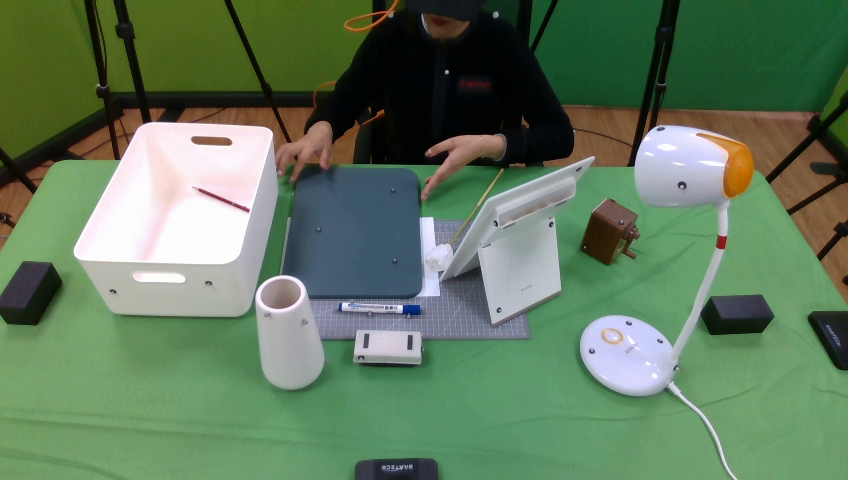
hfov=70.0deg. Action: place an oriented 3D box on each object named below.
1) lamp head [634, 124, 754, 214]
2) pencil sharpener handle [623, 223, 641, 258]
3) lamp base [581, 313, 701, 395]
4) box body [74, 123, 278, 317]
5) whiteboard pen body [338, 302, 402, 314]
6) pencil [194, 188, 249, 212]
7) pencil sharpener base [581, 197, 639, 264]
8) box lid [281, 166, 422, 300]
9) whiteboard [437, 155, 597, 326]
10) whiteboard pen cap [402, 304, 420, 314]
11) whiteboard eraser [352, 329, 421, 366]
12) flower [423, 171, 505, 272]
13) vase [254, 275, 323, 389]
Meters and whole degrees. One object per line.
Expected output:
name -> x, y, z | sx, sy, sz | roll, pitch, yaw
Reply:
lamp head -> 0.351, -0.089, 0.776 | 0.112, 0.113, 0.122 | -30, 30, -28
pencil sharpener handle -> 0.399, 0.002, 1.146 | 0.030, 0.068, 0.036 | 35, 45, 26
lamp base -> 0.361, 0.144, 0.972 | 0.178, 0.181, 0.160 | 34, 53, 23
box body -> -0.421, -0.041, 1.108 | 0.254, 0.161, 0.361 | 2, 46, -3
whiteboard pen body -> -0.083, 0.121, 1.074 | 0.141, 0.017, 0.017 | 3, 46, -2
pencil -> -0.397, -0.076, 1.243 | 0.193, 0.012, 0.012 | 21, 49, 17
pencil sharpener base -> 0.362, -0.016, 1.178 | 0.076, 0.107, 0.061 | 35, 53, 26
box lid -> -0.139, -0.029, 1.219 | 0.263, 0.015, 0.369 | 1, 46, -4
whiteboard -> 0.180, 0.023, 1.029 | 0.217, 0.306, 0.143 | -21, 71, -23
whiteboard pen cap -> -0.024, 0.123, 1.076 | 0.033, 0.018, 0.018 | 1, 46, 1
whiteboard eraser -> -0.061, 0.179, 1.005 | 0.113, 0.042, 0.055 | 3, 48, -3
flower -> 0.098, -0.054, 1.259 | 0.044, 0.038, 0.361 | 18, 43, 22
vase -> -0.209, 0.142, 0.921 | 0.098, 0.201, 0.097 | 1, 46, -1
